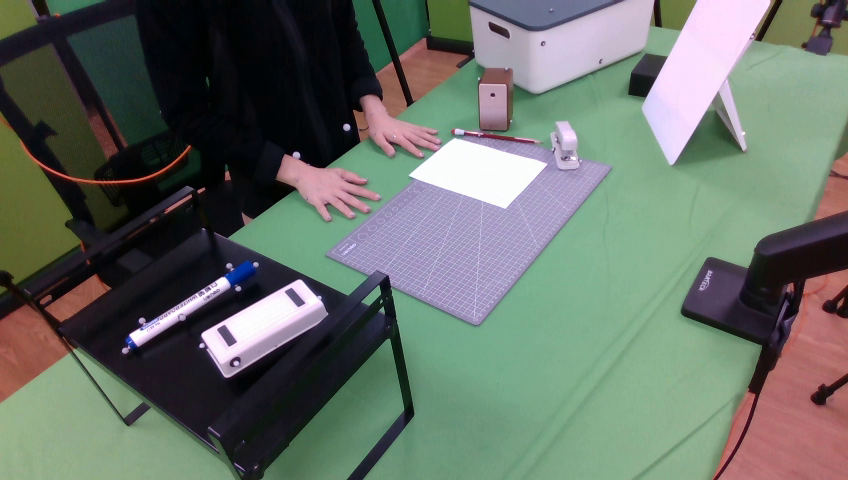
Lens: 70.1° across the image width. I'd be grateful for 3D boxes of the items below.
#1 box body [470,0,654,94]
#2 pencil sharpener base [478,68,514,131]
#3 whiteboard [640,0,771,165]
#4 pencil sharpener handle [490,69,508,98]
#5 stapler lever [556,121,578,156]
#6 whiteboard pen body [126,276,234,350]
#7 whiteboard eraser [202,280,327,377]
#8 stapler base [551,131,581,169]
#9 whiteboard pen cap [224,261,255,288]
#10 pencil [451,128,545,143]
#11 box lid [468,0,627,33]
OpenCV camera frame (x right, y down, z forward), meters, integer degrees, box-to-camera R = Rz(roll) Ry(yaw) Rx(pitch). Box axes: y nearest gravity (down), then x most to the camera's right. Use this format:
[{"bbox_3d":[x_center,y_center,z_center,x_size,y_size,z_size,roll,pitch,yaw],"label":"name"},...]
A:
[{"bbox_3d":[0.319,-0.498,1.405,0.365,0.161,0.252,-26,43,-21],"label":"box body"},{"bbox_3d":[0.148,-0.286,1.225,0.061,0.107,0.076,5,41,15],"label":"pencil sharpener base"},{"bbox_3d":[0.544,-0.299,1.076,0.144,0.305,0.216,12,40,-7],"label":"whiteboard"},{"bbox_3d":[0.154,-0.330,1.254,0.036,0.068,0.030,20,43,0],"label":"pencil sharpener handle"},{"bbox_3d":[0.266,-0.198,1.128,0.027,0.040,0.117,0,38,3],"label":"stapler lever"},{"bbox_3d":[-0.251,0.070,0.649,0.141,0.017,0.017,-36,48,-26],"label":"whiteboard pen body"},{"bbox_3d":[-0.156,0.088,0.600,0.113,0.042,0.055,-30,47,-24],"label":"whiteboard eraser"},{"bbox_3d":[0.268,-0.178,1.142,0.041,0.024,0.130,0,37,3],"label":"stapler base"},{"bbox_3d":[-0.207,0.039,0.677,0.033,0.018,0.018,-36,47,-18],"label":"whiteboard pen cap"},{"bbox_3d":[0.145,-0.207,1.205,0.193,0.012,0.012,11,44,20],"label":"pencil"},{"bbox_3d":[0.312,-0.555,1.357,0.373,0.015,0.261,-27,44,-20],"label":"box lid"}]
